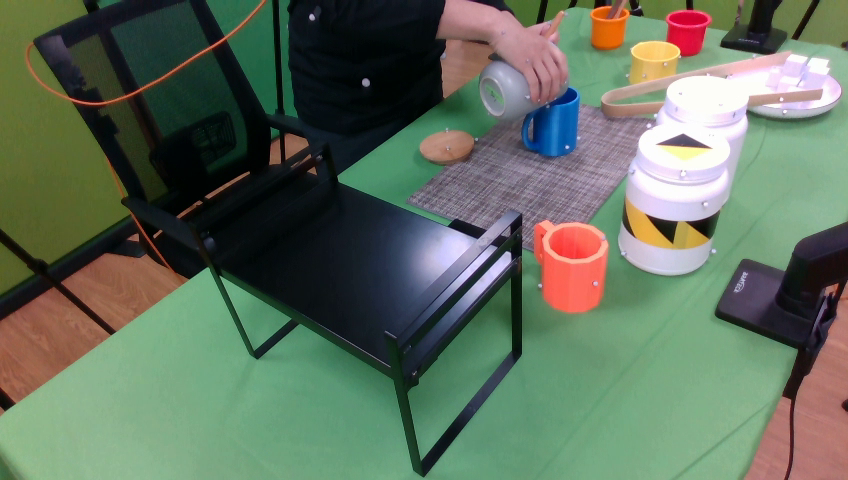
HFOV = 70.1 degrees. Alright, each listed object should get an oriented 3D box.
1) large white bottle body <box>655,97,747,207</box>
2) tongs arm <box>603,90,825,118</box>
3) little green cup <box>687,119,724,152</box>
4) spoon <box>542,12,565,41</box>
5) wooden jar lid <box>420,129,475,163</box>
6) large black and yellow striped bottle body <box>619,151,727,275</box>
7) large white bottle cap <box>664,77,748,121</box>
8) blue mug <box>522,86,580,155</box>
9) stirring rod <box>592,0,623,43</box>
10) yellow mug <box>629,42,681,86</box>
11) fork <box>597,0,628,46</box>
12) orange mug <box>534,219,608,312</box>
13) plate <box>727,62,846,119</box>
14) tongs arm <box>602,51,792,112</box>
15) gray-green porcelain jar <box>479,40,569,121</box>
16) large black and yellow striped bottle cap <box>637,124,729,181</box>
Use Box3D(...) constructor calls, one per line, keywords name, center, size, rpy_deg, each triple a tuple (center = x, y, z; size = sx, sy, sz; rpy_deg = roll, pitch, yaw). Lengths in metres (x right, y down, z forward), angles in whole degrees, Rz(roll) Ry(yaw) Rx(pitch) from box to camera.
Box3D(name="large white bottle body", center=(0.431, -0.148, 0.959), size=(0.130, 0.185, 0.130), rpy_deg=(-4, 41, 4))
Box3D(name="tongs arm", center=(0.546, -0.262, 1.163), size=(0.386, 0.028, 0.028), rpy_deg=(-1, 49, 18))
Box3D(name="little green cup", center=(0.514, -0.191, 1.109), size=(0.061, 0.039, 0.061), rpy_deg=(-5, 40, 5))
Box3D(name="spoon", center=(0.187, -0.320, 1.054), size=(0.194, 0.022, 0.041), rpy_deg=(-52, 40, -7))
Box3D(name="wooden jar lid", center=(0.047, -0.183, 1.183), size=(0.108, 0.021, 0.108), rpy_deg=(-6, 37, 5))
Box3D(name="large black and yellow striped bottle body", center=(0.354, -0.056, 0.865), size=(0.131, 0.185, 0.130), rpy_deg=(-4, 41, 4))
Box3D(name="large white bottle cap", center=(0.421, -0.212, 0.905), size=(0.115, 0.018, 0.114), rpy_deg=(-4, 40, 4))
Box3D(name="blue mug", center=(0.233, -0.218, 1.127), size=(0.117, 0.106, 0.081), rpy_deg=(-23, 43, -16))
Box3D(name="stirring rod", center=(0.460, -0.557, 1.461), size=(0.014, 0.176, 0.006), rpy_deg=(35, 11, 22))
Box3D(name="yellow mug", center=(0.495, -0.389, 1.321), size=(0.100, 0.064, 0.130), rpy_deg=(-14, 40, -6))
Box3D(name="fork", center=(0.479, -0.558, 1.455), size=(0.028, 0.019, 0.207), rpy_deg=(35, 100, 38))
Box3D(name="orange mug", center=(0.200, 0.027, 0.858), size=(0.084, 0.101, 0.125), rpy_deg=(-24, 48, -18))
Box3D(name="plate", center=(0.709, -0.292, 1.197), size=(0.207, 0.039, 0.206), rpy_deg=(-4, 40, 4))
Box3D(name="tongs arm", center=(0.552, -0.320, 1.224), size=(0.384, 0.027, 0.050), rpy_deg=(-10, 43, 7))
Box3D(name="gray-green porcelain jar", center=(0.167, -0.270, 1.038), size=(0.127, 0.106, 0.105), rpy_deg=(-29, 45, -20))
Box3D(name="large black and yellow striped bottle cap", center=(0.346, -0.119, 0.810), size=(0.115, 0.019, 0.114), rpy_deg=(-5, 41, 5))
